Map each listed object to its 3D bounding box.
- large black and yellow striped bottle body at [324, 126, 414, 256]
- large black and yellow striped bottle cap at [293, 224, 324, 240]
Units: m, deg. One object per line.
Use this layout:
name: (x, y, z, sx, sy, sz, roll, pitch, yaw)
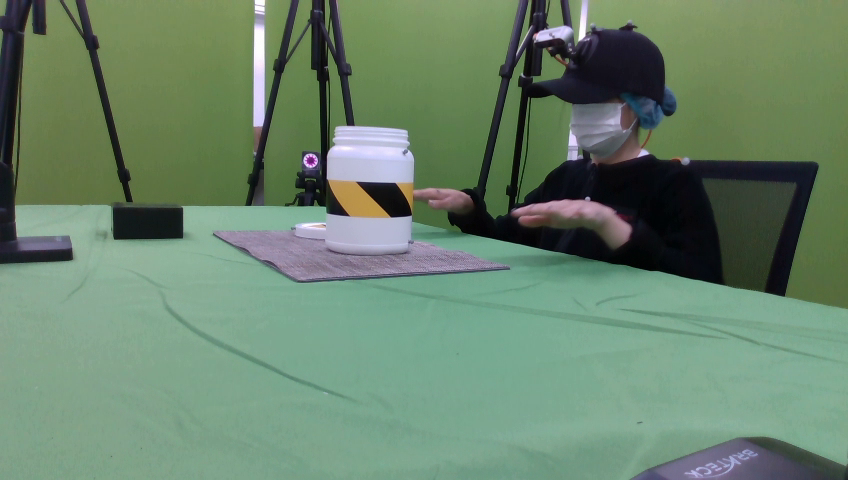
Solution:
large black and yellow striped bottle body: (-0.082, -0.074, 0.904, 0.131, 0.184, 0.130, 3, 7, 0)
large black and yellow striped bottle cap: (-0.173, -0.015, 1.071, 0.115, 0.019, 0.115, 2, 7, 0)
